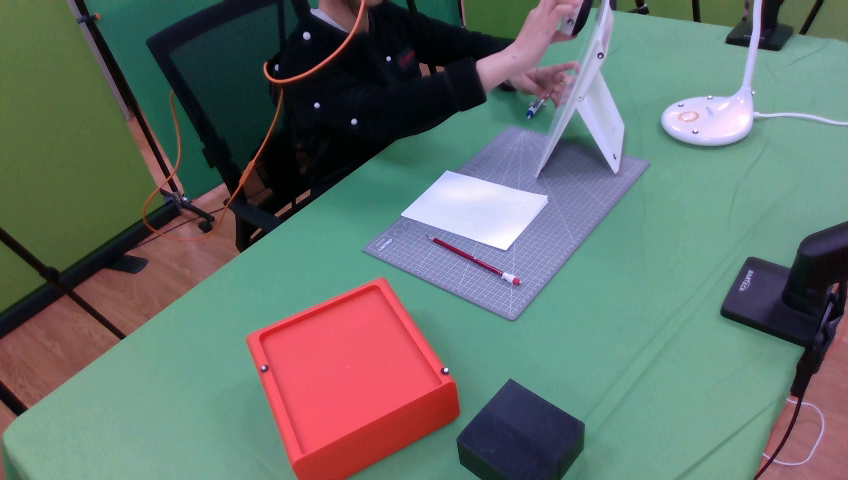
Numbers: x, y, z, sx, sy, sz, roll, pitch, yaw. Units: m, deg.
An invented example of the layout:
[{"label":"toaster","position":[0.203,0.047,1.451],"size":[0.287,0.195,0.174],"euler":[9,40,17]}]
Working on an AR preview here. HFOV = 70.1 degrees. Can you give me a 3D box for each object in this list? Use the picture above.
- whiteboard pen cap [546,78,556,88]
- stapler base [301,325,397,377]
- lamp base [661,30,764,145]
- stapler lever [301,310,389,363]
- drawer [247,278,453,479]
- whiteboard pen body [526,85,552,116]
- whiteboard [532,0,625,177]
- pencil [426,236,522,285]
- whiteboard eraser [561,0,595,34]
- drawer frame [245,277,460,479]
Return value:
[{"label":"whiteboard pen cap","position":[0.280,-0.344,1.335],"size":[0.018,0.018,0.033],"euler":[15,45,26]},{"label":"stapler base","position":[-0.102,0.143,0.815],"size":[0.131,0.024,0.041],"euler":[-18,42,-13]},{"label":"lamp base","position":[0.535,-0.287,1.096],"size":[0.179,0.181,0.159],"euler":[-10,40,-4]},{"label":"stapler lever","position":[-0.104,0.126,0.798],"size":[0.118,0.040,0.026],"euler":[-17,42,-15]},{"label":"drawer","position":[-0.096,0.167,0.758],"size":[0.195,0.073,0.210],"euler":[-22,43,-17]},{"label":"whiteboard pen body","position":[0.251,-0.306,1.298],"size":[0.017,0.017,0.141],"euler":[15,46,26]},{"label":"whiteboard","position":[0.321,-0.258,1.050],"size":[0.144,0.306,0.217],"euler":[21,45,5]},{"label":"pencil","position":[0.072,0.028,0.941],"size":[0.192,0.012,0.012],"euler":[26,52,37]},{"label":"whiteboard eraser","position":[0.264,-0.397,1.024],"size":[0.042,0.056,0.112],"euler":[19,48,7]},{"label":"drawer frame","position":[-0.093,0.167,0.755],"size":[0.202,0.083,0.211],"euler":[-23,43,-17]}]
